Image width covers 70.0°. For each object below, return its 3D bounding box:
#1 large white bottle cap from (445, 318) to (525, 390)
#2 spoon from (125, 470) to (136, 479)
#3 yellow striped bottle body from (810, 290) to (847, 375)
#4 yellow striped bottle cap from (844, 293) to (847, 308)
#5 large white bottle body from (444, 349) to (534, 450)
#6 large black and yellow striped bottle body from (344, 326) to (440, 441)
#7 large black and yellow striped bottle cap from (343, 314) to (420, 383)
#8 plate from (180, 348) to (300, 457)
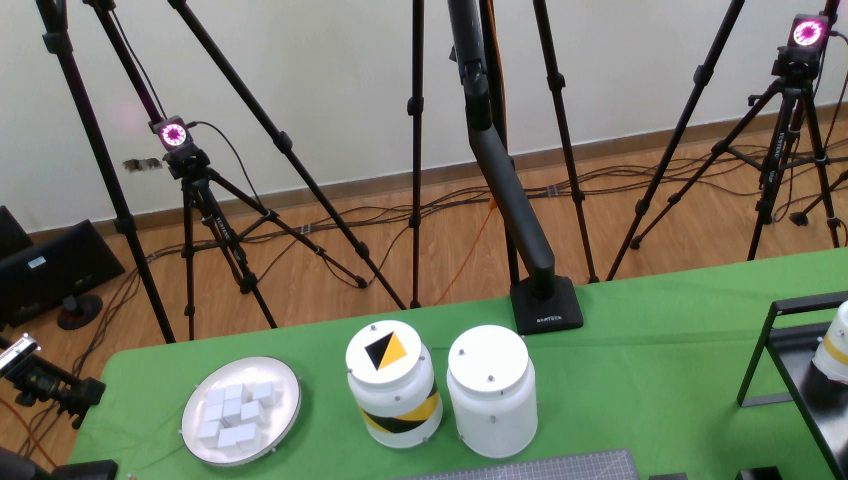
[{"bbox_3d":[0.087,0.161,0.865,0.115,0.018,0.113,-6,44,6],"label":"large white bottle cap"},{"bbox_3d":[-0.452,0.419,0.873,0.041,0.022,0.194,27,100,36],"label":"spoon"},{"bbox_3d":[0.521,0.106,0.735,0.063,0.121,0.062,-6,45,6],"label":"yellow striped bottle body"},{"bbox_3d":[0.513,0.069,0.698,0.044,0.019,0.044,-4,45,5],"label":"yellow striped bottle cap"},{"bbox_3d":[0.100,0.221,0.924,0.130,0.186,0.129,-6,45,6],"label":"large white bottle body"},{"bbox_3d":[-0.051,0.219,0.958,0.130,0.186,0.129,-6,45,6],"label":"large black and yellow striped bottle body"},{"bbox_3d":[-0.064,0.159,0.900,0.115,0.019,0.114,-5,46,5],"label":"large black and yellow striped bottle cap"},{"bbox_3d":[-0.315,0.284,1.056,0.207,0.039,0.205,-6,45,6],"label":"plate"}]
